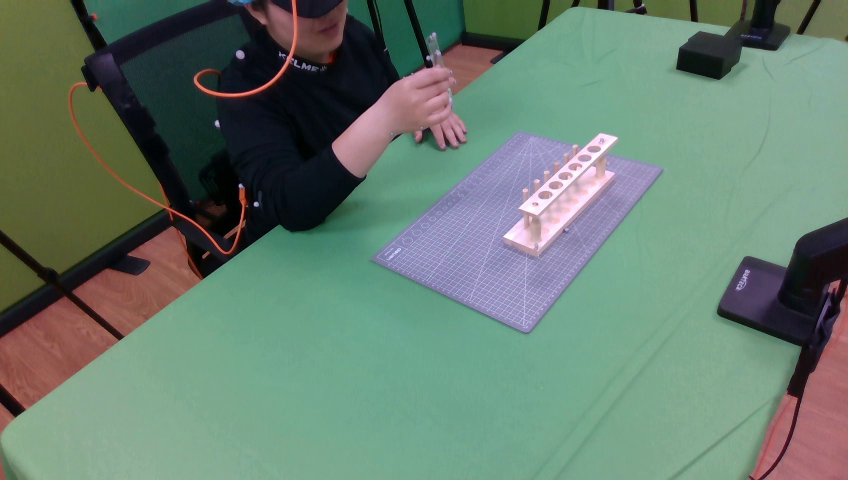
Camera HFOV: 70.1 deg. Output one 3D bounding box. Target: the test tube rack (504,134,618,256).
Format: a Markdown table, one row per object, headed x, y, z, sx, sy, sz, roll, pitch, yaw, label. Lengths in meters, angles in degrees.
| x | y | z | sx | sy | sz | roll | pitch | yaw | label |
| --- | --- | --- | --- | --- | --- | --- | --- | --- | --- |
| 0.225 | -0.083 | 0.985 | 0.066 | 0.085 | 0.243 | 25 | 50 | 34 | test tube rack |

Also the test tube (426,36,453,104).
| x | y | z | sx | sy | sz | roll | pitch | yaw | label |
| --- | --- | --- | --- | --- | --- | --- | --- | --- | --- |
| 0.025 | -0.256 | 0.926 | 0.017 | 0.151 | 0.017 | -5 | 66 | 12 | test tube |
